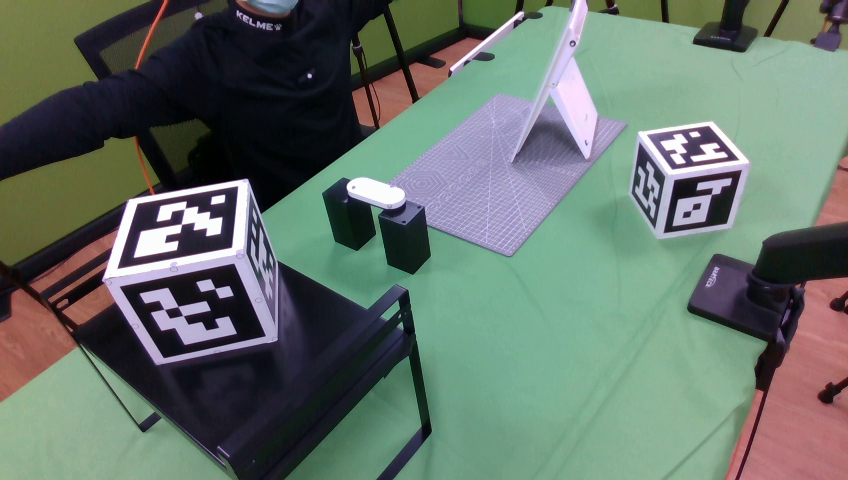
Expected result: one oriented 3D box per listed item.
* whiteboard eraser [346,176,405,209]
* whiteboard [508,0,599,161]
[{"bbox_3d":[-0.073,-0.072,0.909,0.100,0.019,0.041,20,49,29],"label":"whiteboard eraser"},{"bbox_3d":[0.285,-0.289,1.088,0.144,0.305,0.217,22,45,3],"label":"whiteboard"}]
